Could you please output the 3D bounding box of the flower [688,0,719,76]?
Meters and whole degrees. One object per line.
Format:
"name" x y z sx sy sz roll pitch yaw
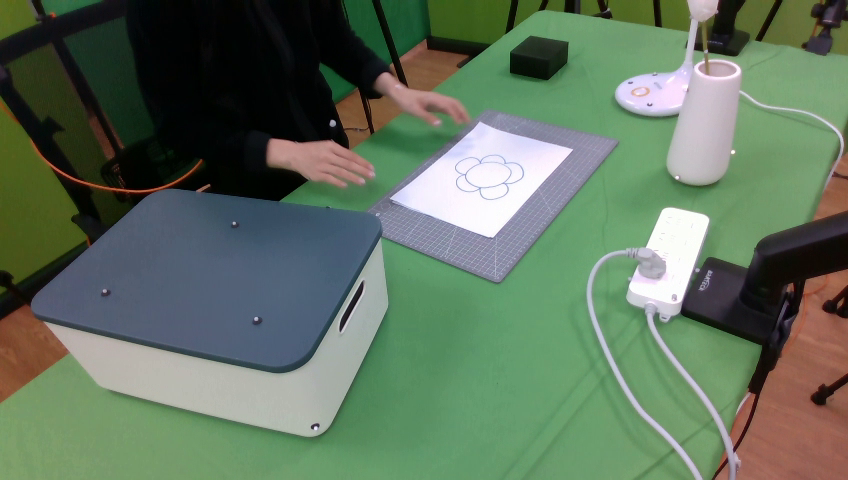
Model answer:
"flower" 0.436 -0.242 0.934 0.038 0.364 0.043 -24 49 8

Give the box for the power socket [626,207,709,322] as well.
"power socket" 0.360 0.026 0.886 0.072 0.033 0.227 17 46 27

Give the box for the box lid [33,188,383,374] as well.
"box lid" -0.257 0.032 0.751 0.370 0.015 0.263 8 42 16

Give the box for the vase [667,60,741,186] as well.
"vase" 0.463 -0.189 0.994 0.098 0.201 0.097 -4 40 4

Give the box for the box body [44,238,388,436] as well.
"box body" -0.251 0.088 0.799 0.362 0.161 0.254 7 42 16

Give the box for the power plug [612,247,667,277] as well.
"power plug" 0.306 0.031 0.852 0.072 0.053 0.035 21 48 38

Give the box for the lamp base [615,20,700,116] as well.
"lamp base" 0.484 -0.364 1.211 0.180 0.181 0.159 -15 41 -14
